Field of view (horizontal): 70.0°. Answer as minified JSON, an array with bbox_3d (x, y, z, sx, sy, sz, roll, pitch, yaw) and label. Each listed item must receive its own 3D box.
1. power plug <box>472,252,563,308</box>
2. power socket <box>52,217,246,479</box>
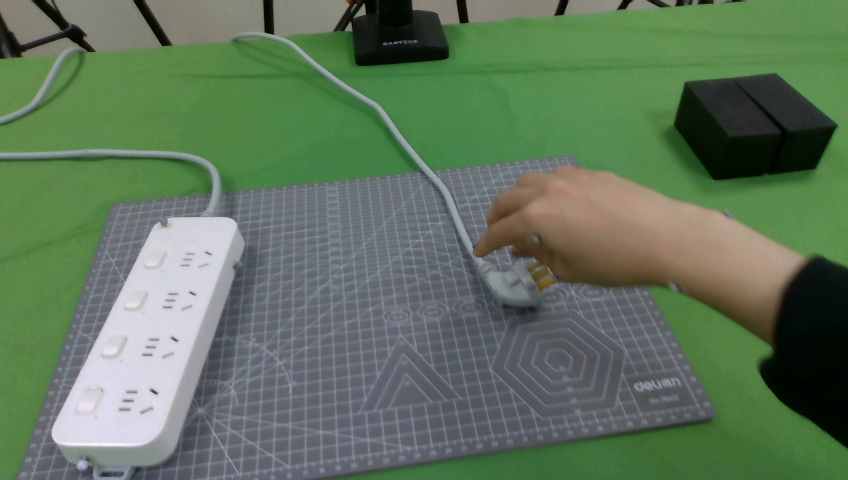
[{"bbox_3d":[0.071,0.021,0.473,0.052,0.035,0.072,-27,59,-2],"label":"power plug"},{"bbox_3d":[-0.190,0.062,0.444,0.072,0.033,0.224,1,43,2],"label":"power socket"}]
